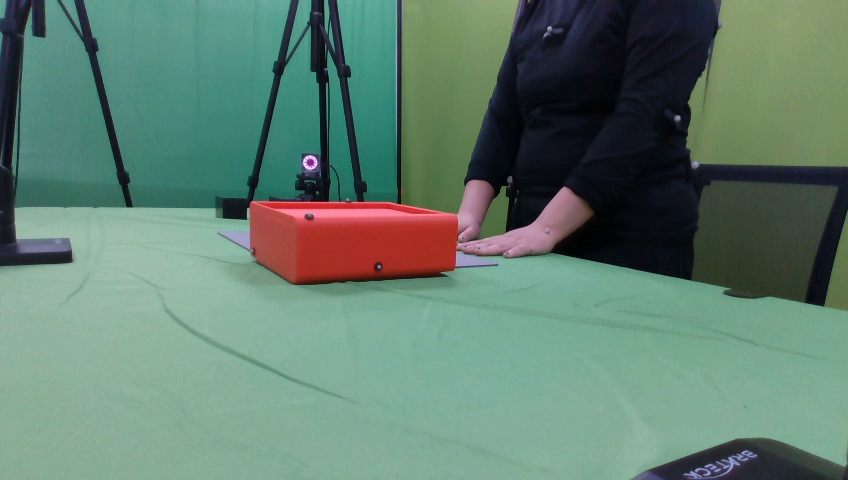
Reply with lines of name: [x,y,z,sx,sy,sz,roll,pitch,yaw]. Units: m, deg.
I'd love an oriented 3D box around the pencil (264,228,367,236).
pencil: [-0.195,-0.013,1.109,0.195,0.012,0.012,2,7,-28]

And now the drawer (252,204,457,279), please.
drawer: [-0.095,-0.004,0.787,0.213,0.073,0.193,-3,10,-30]

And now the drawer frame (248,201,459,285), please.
drawer frame: [-0.096,-0.005,0.785,0.215,0.082,0.200,-3,10,-31]
